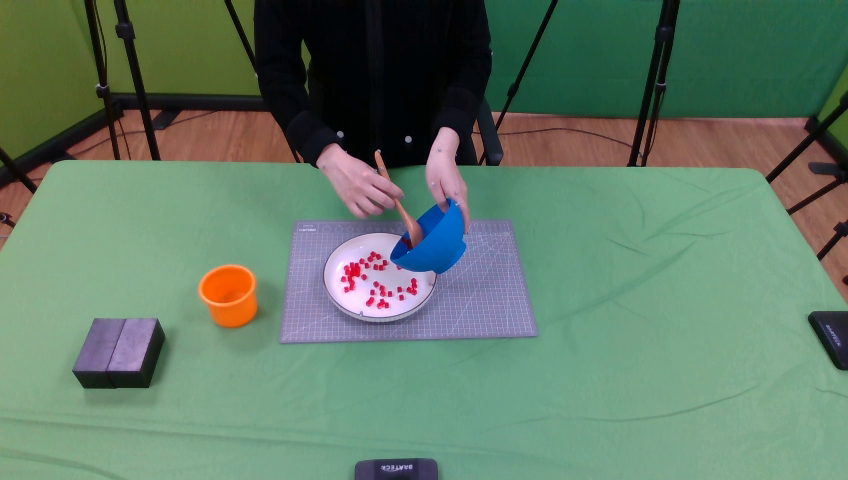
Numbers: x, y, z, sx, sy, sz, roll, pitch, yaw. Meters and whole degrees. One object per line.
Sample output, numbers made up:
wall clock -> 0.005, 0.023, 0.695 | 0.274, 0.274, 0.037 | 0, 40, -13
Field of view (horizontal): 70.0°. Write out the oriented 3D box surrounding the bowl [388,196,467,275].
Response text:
bowl -> 0.019, 0.006, 1.035 | 0.077, 0.151, 0.151 | 45, 49, -13

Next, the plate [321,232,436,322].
plate -> -0.083, 0.070, 1.109 | 0.209, 0.038, 0.208 | 3, 46, -2

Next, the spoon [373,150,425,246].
spoon -> -0.044, -0.064, 1.028 | 0.021, 0.194, 0.041 | -13, 23, 40
